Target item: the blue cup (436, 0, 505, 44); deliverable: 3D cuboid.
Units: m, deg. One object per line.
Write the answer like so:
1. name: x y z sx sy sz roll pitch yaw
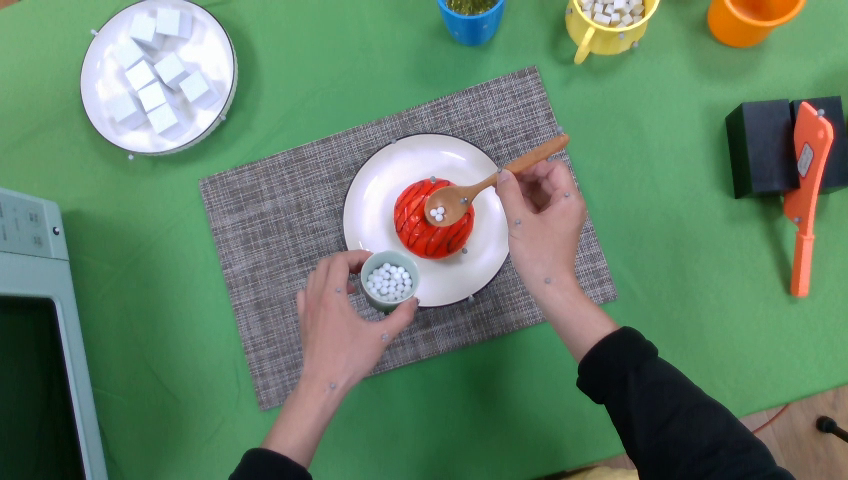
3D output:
1. blue cup: 0.056 -0.280 0.714 0.092 0.100 0.092 0 85 5

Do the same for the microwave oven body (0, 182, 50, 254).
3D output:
1. microwave oven body: -0.584 0.177 0.648 0.326 0.261 0.440 -15 83 4

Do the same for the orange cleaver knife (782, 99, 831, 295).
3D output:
1. orange cleaver knife: 0.410 -0.043 0.661 0.012 0.077 0.213 -3 113 8

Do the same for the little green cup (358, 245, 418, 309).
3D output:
1. little green cup: -0.038 0.041 0.629 0.061 0.039 0.061 4 57 -6

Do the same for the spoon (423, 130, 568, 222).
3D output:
1. spoon: 0.064 -0.060 0.593 0.022 0.193 0.041 -23 88 -40

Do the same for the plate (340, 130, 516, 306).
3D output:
1. plate: 0.005 -0.026 0.721 0.209 0.038 0.208 -1 84 6

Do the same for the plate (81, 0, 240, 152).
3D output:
1. plate: -0.334 -0.211 0.780 0.207 0.039 0.207 -1 84 6

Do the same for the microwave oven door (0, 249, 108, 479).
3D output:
1. microwave oven door: -0.434 0.180 0.627 0.039 0.244 0.354 -15 82 4

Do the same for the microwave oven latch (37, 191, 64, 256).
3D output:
1. microwave oven latch: -0.474 -0.019 0.755 0.030 0.029 0.079 -13 83 4

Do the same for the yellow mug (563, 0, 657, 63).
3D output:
1. yellow mug: 0.210 -0.267 0.714 0.099 0.064 0.131 30 89 8

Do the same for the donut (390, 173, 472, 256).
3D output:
1. donut: 0.008 -0.030 0.709 0.099 0.048 0.099 -1 85 8
